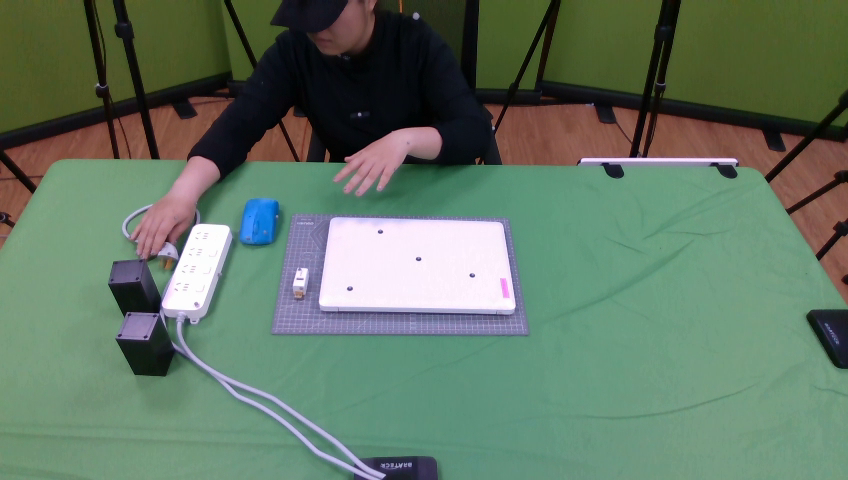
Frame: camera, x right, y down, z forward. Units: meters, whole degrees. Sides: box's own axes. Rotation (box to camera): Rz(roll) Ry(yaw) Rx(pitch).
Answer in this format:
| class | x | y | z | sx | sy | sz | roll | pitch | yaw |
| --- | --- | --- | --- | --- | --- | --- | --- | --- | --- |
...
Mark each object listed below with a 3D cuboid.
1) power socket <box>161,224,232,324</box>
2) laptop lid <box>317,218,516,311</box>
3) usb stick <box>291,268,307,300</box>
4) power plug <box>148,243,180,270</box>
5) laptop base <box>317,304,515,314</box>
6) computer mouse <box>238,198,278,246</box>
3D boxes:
| class | x | y | z | sx | sy | sz | roll | pitch | yaw |
| --- | --- | --- | --- | --- | --- | --- | --- | --- | --- |
| power socket | -0.412 | 0.053 | 1.106 | 0.072 | 0.033 | 0.225 | 4 | 46 | -1 |
| laptop lid | -0.013 | 0.040 | 1.143 | 0.357 | 0.013 | 0.240 | 3 | 43 | -2 |
| usb stick | -0.227 | 0.081 | 1.094 | 0.021 | 0.027 | 0.059 | 4 | 48 | -2 |
| power plug | -0.486 | 0.033 | 1.133 | 0.072 | 0.035 | 0.052 | -10 | 63 | 35 |
| laptop base | -0.014 | 0.049 | 1.150 | 0.354 | 0.023 | 0.234 | 1 | 42 | -3 |
| computer mouse | -0.328 | -0.039 | 1.200 | 0.063 | 0.041 | 0.116 | 4 | 50 | -4 |
